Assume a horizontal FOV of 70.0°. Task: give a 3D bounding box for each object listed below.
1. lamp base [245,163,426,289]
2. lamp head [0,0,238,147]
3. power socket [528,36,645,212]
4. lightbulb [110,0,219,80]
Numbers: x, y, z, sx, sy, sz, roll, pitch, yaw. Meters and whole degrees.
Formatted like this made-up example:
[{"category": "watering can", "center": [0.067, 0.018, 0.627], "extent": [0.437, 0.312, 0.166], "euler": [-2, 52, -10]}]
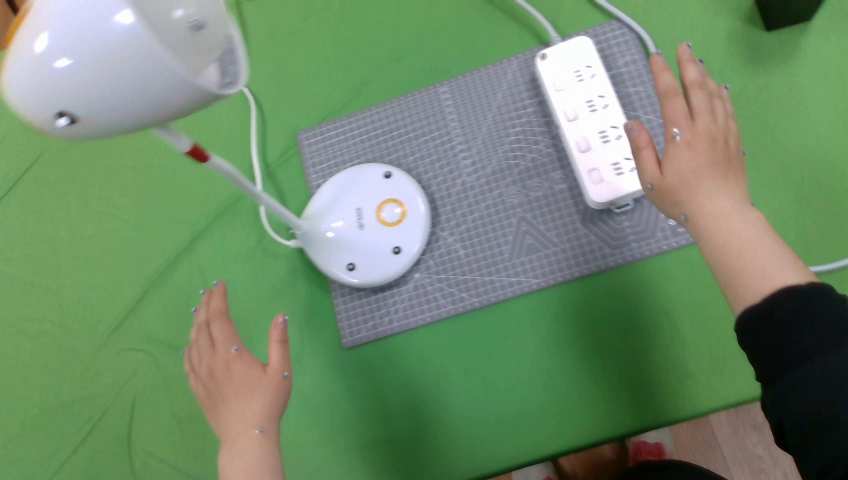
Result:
[{"category": "lamp base", "center": [-0.103, -0.032, 0.673], "extent": [0.179, 0.181, 0.159], "euler": [-24, 72, 8]}, {"category": "lamp head", "center": [-0.190, -0.107, 0.365], "extent": [0.123, 0.113, 0.111], "euler": [-28, 72, 20]}, {"category": "power socket", "center": [0.189, -0.141, 0.716], "extent": [0.072, 0.033, 0.225], "euler": [-20, 73, 6]}, {"category": "lightbulb", "center": [-0.170, -0.114, 0.351], "extent": [0.107, 0.060, 0.059], "euler": [-18, 73, 16]}]
